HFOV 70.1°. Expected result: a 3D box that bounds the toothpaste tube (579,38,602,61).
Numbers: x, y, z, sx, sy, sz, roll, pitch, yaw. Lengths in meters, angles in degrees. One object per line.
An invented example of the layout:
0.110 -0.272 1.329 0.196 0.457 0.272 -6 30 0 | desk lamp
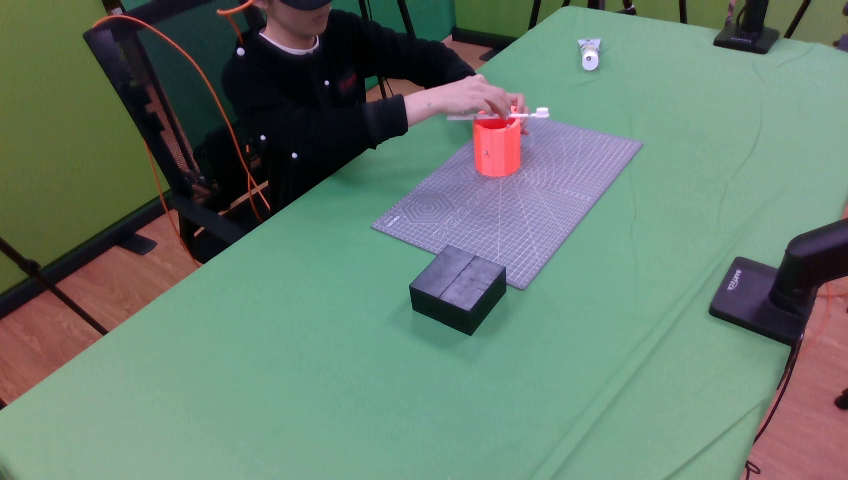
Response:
0.398 -0.449 1.433 0.055 0.034 0.164 6 38 8 | toothpaste tube

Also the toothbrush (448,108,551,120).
0.132 -0.223 1.072 0.181 0.017 0.014 0 46 8 | toothbrush

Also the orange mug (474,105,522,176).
0.145 -0.192 1.114 0.083 0.101 0.126 18 51 27 | orange mug

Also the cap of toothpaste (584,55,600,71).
0.381 -0.403 1.372 0.037 0.037 0.011 1 38 10 | cap of toothpaste
